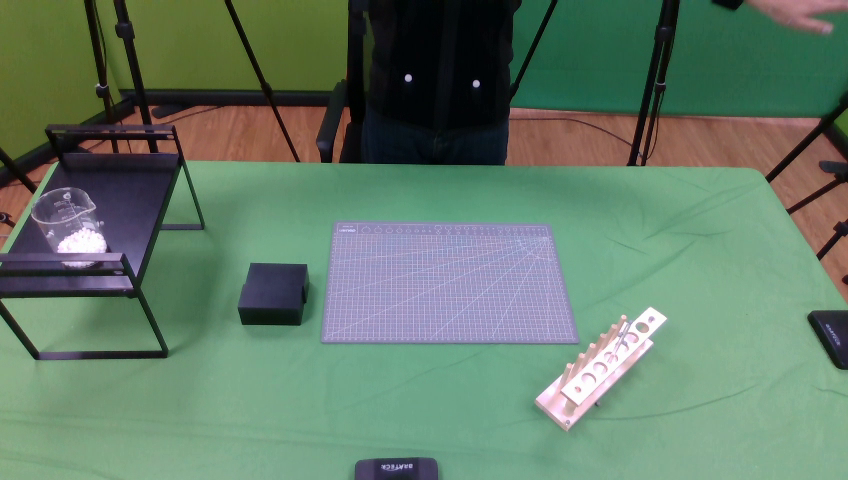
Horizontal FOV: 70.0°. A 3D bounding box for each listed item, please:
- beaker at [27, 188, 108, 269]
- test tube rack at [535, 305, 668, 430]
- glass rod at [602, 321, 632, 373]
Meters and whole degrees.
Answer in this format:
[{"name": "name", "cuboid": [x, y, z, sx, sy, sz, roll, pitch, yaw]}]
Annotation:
[{"name": "beaker", "cuboid": [-0.502, -0.014, 0.869, 0.084, 0.101, 0.073, -3, 47, -7]}, {"name": "test tube rack", "cuboid": [0.290, 0.193, 0.984, 0.242, 0.085, 0.066, -32, 56, -30]}, {"name": "glass rod", "cuboid": [0.286, 0.173, 0.913, 0.008, 0.201, 0.008, -1, 53, 1]}]
